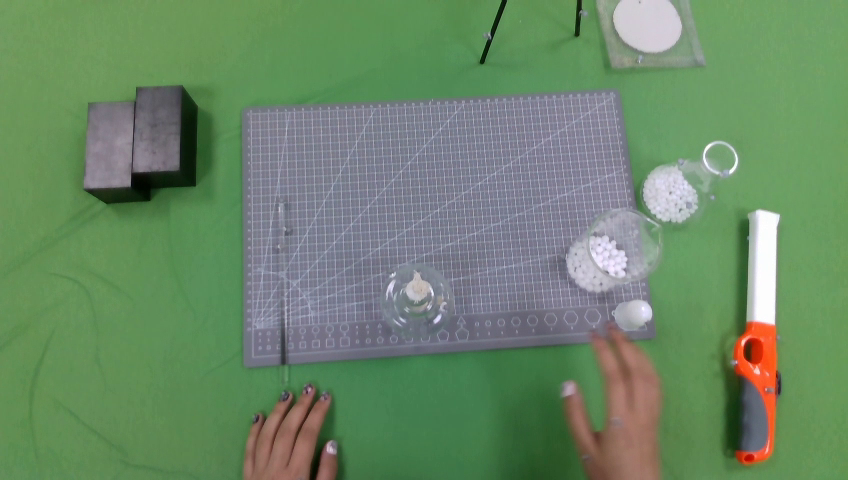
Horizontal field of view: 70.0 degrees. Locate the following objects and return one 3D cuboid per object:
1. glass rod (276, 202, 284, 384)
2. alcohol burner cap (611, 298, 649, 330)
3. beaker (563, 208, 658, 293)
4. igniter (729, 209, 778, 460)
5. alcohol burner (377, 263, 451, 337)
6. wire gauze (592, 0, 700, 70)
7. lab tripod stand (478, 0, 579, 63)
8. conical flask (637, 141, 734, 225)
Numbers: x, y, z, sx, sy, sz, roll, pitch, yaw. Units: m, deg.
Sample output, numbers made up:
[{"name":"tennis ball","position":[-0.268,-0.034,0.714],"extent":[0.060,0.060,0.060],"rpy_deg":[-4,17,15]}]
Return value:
[{"name":"glass rod","position":[-0.158,0.056,0.663],"extent":[0.008,0.008,0.199],"rpy_deg":[-3,80,-3]},{"name":"alcohol burner cap","position":[0.226,0.078,0.656],"extent":[0.034,0.048,0.033],"rpy_deg":[1,76,-2]},{"name":"beaker","position":[0.194,0.014,0.640],"extent":[0.084,0.100,0.073],"rpy_deg":[-27,79,-8]},{"name":"igniter","position":[0.364,0.100,0.666],"extent":[0.057,0.025,0.275],"rpy_deg":[12,77,-10]},{"name":"alcohol burner","position":[-0.010,0.058,0.615],"extent":[0.078,0.119,0.077],"rpy_deg":[0,76,0]},{"name":"wire gauze","position":[0.276,-0.268,0.757],"extent":[0.125,0.011,0.121],"rpy_deg":[-5,78,-5]},{"name":"lab tripod stand","position":[0.117,-0.282,0.690],"extent":[0.148,0.132,0.147],"rpy_deg":[0,79,-2]},{"name":"conical flask","position":[0.285,-0.067,0.653],"extent":[0.075,0.122,0.075],"rpy_deg":[0,76,-1]}]
